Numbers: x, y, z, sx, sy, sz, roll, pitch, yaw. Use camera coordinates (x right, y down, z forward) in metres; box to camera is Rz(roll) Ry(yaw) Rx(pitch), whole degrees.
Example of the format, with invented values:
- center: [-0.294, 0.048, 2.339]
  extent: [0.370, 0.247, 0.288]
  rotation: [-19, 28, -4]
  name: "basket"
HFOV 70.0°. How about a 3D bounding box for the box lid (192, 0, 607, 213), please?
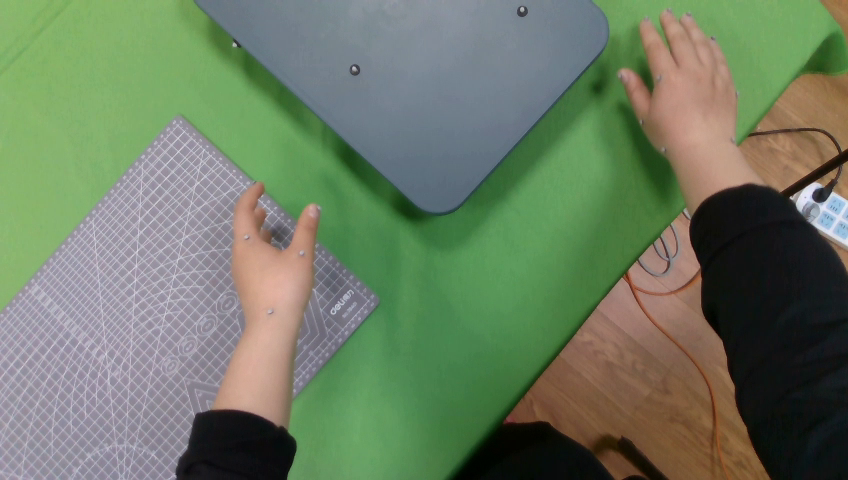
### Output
- center: [-0.034, -0.234, 0.601]
  extent: [0.371, 0.015, 0.263]
  rotation: [42, 90, 5]
  name: "box lid"
